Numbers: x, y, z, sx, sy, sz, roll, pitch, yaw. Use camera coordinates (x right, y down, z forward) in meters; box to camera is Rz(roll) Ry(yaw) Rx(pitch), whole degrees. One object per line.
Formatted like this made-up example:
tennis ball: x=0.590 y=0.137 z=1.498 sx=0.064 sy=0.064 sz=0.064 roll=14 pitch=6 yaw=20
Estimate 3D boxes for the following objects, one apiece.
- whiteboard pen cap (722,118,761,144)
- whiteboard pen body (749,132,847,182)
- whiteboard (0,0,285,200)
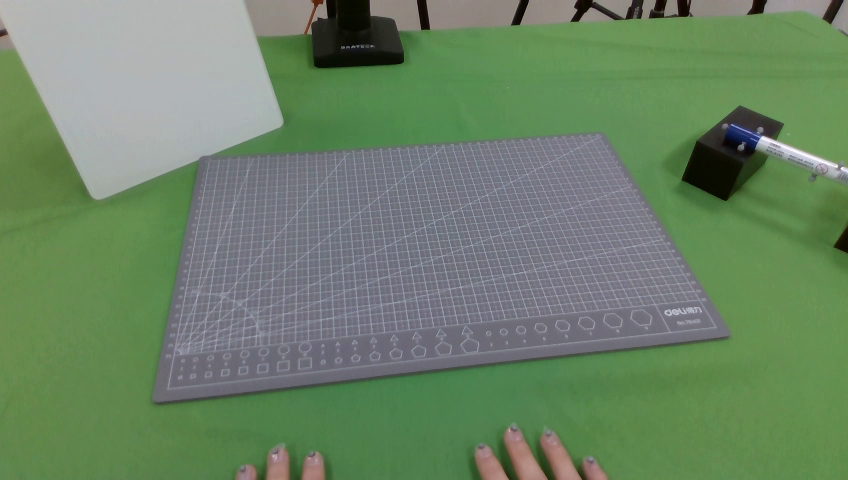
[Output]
whiteboard pen cap: x=0.316 y=-0.108 z=0.602 sx=0.033 sy=0.018 sz=0.018 roll=32 pitch=51 yaw=27
whiteboard pen body: x=0.360 y=-0.080 z=0.577 sx=0.139 sy=0.017 sz=0.017 roll=31 pitch=51 yaw=27
whiteboard: x=-0.312 y=-0.235 z=0.618 sx=0.217 sy=0.308 sz=0.142 roll=-31 pitch=34 yaw=-29
